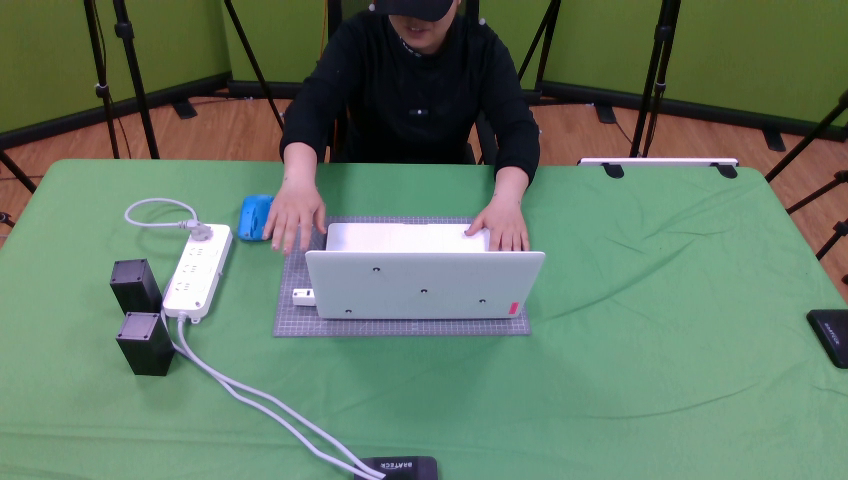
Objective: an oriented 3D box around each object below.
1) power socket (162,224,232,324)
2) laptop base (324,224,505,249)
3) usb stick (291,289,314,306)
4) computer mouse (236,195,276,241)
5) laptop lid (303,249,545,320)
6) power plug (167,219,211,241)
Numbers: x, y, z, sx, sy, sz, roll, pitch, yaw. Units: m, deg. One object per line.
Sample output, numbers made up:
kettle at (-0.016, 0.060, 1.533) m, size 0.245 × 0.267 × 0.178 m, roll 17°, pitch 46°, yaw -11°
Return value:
power socket at (-0.411, 0.052, 1.106) m, size 0.072 × 0.033 × 0.225 m, roll 3°, pitch 46°, yaw -2°
laptop base at (-0.014, 0.055, 1.144) m, size 0.355 × 0.023 × 0.234 m, roll 0°, pitch 42°, yaw -4°
usb stick at (-0.203, 0.101, 1.067) m, size 0.059 × 0.027 × 0.021 m, roll 4°, pitch 45°, yaw -5°
computer mouse at (-0.334, -0.047, 1.207) m, size 0.063 × 0.041 × 0.116 m, roll 3°, pitch 50°, yaw -4°
laptop lid at (-0.003, 0.076, 0.962) m, size 0.357 × 0.242 × 0.013 m, roll 1°, pitch 58°, yaw -5°
power plug at (-0.438, -0.017, 1.143) m, size 0.072 × 0.053 × 0.035 m, roll 10°, pitch 43°, yaw 7°
